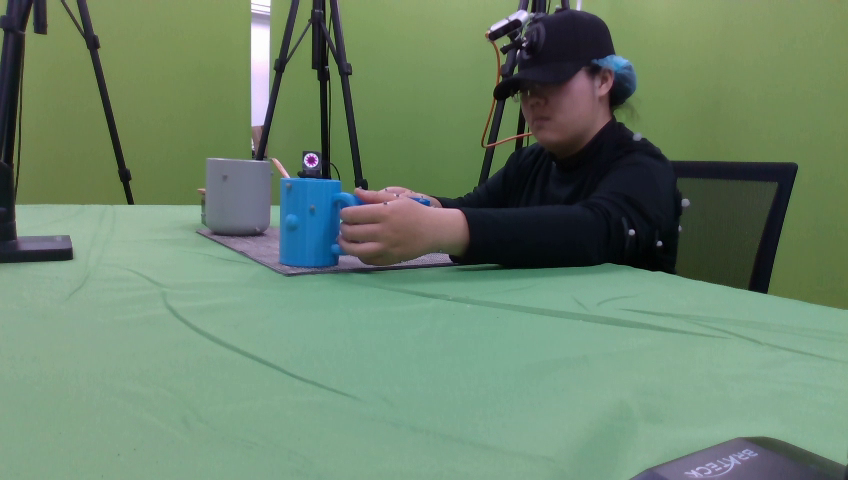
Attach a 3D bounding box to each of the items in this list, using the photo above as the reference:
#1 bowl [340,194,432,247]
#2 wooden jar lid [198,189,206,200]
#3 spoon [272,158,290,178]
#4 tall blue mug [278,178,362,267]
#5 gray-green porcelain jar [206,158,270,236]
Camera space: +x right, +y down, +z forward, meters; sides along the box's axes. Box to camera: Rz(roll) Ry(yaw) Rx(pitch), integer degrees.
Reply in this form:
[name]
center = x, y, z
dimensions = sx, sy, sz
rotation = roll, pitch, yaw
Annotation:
[bowl]
center = -0.066, -0.031, 0.984
dimensions = 0.151, 0.077, 0.151
rotation = 2, 7, 0
[wooden jar lid]
center = -0.382, -0.088, 1.175
dimensions = 0.108, 0.020, 0.108
rotation = 3, 8, 0
[spoon]
center = -0.268, -0.102, 1.236
dimensions = 0.042, 0.193, 0.021
rotation = -10, -31, -39
[tall blue mug]
center = -0.131, -0.023, 0.774
dimensions = 0.107, 0.108, 0.077
rotation = 2, 6, -3
[gray-green porcelain jar]
center = -0.316, -0.074, 1.031
dimensions = 0.106, 0.126, 0.106
rotation = 3, 7, 0
